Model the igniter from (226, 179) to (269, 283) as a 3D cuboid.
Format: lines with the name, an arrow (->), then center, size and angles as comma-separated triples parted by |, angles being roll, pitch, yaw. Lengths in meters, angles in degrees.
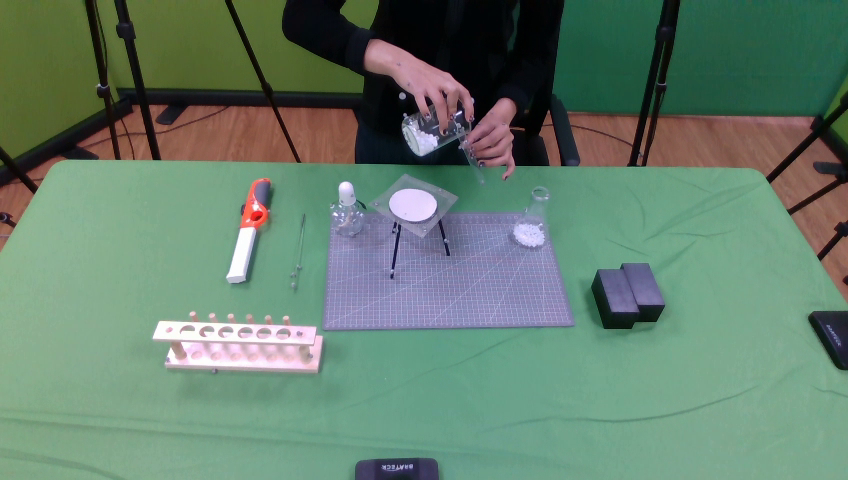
igniter -> -0.345, -0.027, 1.195 | 0.057, 0.025, 0.274 | -6, 46, 5

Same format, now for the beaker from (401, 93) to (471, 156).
beaker -> 0.018, -0.191, 1.025 | 0.100, 0.084, 0.073 | -29, 54, -12

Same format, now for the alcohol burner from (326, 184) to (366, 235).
alcohol burner -> -0.152, -0.066, 1.184 | 0.078, 0.119, 0.077 | 4, 46, -4

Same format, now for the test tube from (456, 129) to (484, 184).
test tube -> 0.087, -0.151, 1.124 | 0.017, 0.151, 0.017 | -10, 56, 16

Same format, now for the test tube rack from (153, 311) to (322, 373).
test tube rack -> -0.293, 0.160, 0.978 | 0.242, 0.085, 0.066 | 3, 46, -2

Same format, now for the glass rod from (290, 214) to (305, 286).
glass rod -> -0.245, 0.015, 1.175 | 0.008, 0.008, 0.198 | 1, 43, -3

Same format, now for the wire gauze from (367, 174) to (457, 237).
wire gauze -> -0.021, -0.068, 1.088 | 0.124, 0.011, 0.121 | 28, 49, 21

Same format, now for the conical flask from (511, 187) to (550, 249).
conical flask -> 0.217, -0.048, 1.190 | 0.075, 0.122, 0.075 | 2, 46, -2

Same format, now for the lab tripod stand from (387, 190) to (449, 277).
lab tripod stand -> -0.021, -0.018, 1.135 | 0.148, 0.132, 0.147 | 3, 44, -3

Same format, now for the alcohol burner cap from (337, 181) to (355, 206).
alcohol burner cap -> -0.151, -0.090, 1.157 | 0.034, 0.048, 0.033 | 0, 52, 0
